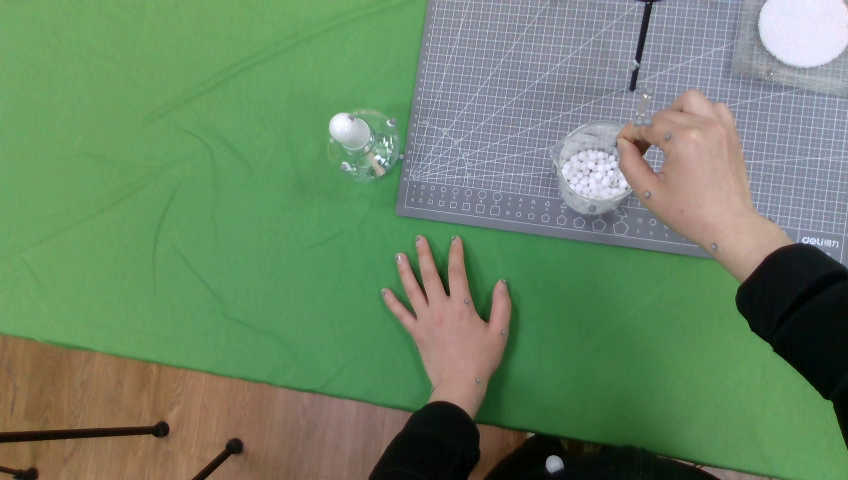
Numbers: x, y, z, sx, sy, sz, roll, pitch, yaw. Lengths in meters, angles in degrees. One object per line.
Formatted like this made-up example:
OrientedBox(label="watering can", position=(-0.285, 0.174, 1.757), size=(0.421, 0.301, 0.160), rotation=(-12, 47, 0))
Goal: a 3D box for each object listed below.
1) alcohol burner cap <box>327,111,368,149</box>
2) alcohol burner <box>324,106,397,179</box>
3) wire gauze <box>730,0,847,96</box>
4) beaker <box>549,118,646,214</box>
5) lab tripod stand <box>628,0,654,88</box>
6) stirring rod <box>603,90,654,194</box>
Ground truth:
OrientedBox(label="alcohol burner cap", position=(-0.076, -0.107, 0.580), size=(0.034, 0.048, 0.034), rotation=(0, 88, 10))
OrientedBox(label="alcohol burner", position=(-0.068, -0.103, 0.615), size=(0.078, 0.119, 0.077), rotation=(-1, 83, 9))
OrientedBox(label="wire gauze", position=(0.373, -0.210, 0.595), size=(0.125, 0.011, 0.121), rotation=(13, 87, 8))
OrientedBox(label="beaker", position=(0.159, -0.066, 0.576), size=(0.084, 0.100, 0.074), rotation=(15, 87, 12))
OrientedBox(label="lab tripod stand", position=(0.200, -0.234, 0.564), size=(0.148, 0.132, 0.148), rotation=(-1, 86, 9))
OrientedBox(label="stirring rod", position=(0.164, -0.073, 0.494), size=(0.014, 0.177, 0.006), rotation=(-5, 71, 8))
